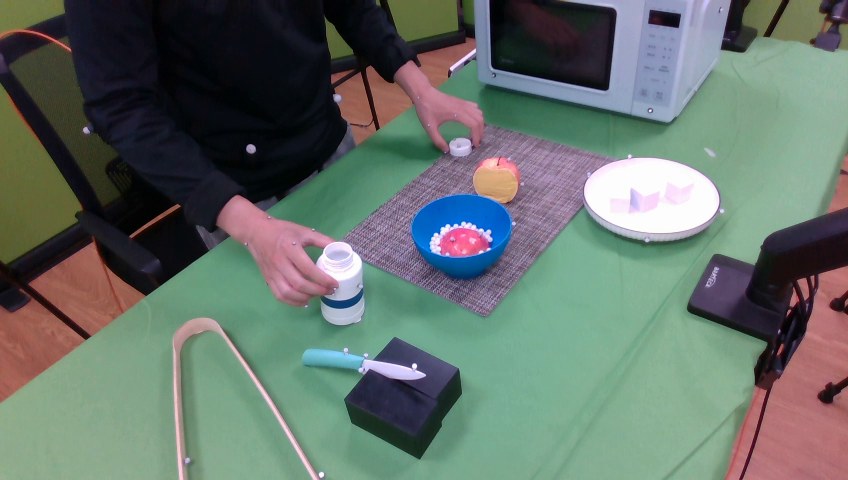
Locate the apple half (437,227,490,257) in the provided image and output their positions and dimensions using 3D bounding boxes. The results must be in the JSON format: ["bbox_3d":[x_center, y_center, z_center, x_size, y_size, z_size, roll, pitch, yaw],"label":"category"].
[{"bbox_3d":[0.056,0.002,0.902,0.081,0.033,0.081,-3,41,3],"label":"apple half"}]

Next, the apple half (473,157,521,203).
[{"bbox_3d":[0.128,-0.107,1.030,0.080,0.075,0.053,4,38,19],"label":"apple half"}]

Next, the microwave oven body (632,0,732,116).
[{"bbox_3d":[0.377,-0.463,1.267,0.438,0.261,0.327,21,49,30],"label":"microwave oven body"}]

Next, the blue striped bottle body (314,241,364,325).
[{"bbox_3d":[-0.117,0.057,0.836,0.063,0.121,0.063,1,42,-1],"label":"blue striped bottle body"}]

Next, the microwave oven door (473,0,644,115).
[{"bbox_3d":[0.257,-0.396,1.199,0.353,0.245,0.039,21,48,29],"label":"microwave oven door"}]

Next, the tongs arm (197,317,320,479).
[{"bbox_3d":[-0.199,0.207,0.750,0.028,0.028,0.384,-31,45,-22],"label":"tongs arm"}]

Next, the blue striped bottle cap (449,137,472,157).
[{"bbox_3d":[0.070,-0.180,1.168,0.044,0.021,0.044,-5,42,5],"label":"blue striped bottle cap"}]

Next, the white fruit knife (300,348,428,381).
[{"bbox_3d":[-0.079,0.154,0.748,0.206,0.027,0.016,0,20,34],"label":"white fruit knife"}]

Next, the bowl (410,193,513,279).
[{"bbox_3d":[0.058,0.005,0.905,0.151,0.077,0.150,-4,40,4],"label":"bowl"}]

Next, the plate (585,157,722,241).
[{"bbox_3d":[0.367,-0.063,0.979,0.207,0.039,0.206,-4,40,4],"label":"plate"}]

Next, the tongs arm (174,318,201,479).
[{"bbox_3d":[-0.272,0.234,0.723,0.051,0.026,0.381,-19,40,-14],"label":"tongs arm"}]

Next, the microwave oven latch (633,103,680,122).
[{"bbox_3d":[0.444,-0.249,1.158,0.078,0.029,0.030,21,49,30],"label":"microwave oven latch"}]
